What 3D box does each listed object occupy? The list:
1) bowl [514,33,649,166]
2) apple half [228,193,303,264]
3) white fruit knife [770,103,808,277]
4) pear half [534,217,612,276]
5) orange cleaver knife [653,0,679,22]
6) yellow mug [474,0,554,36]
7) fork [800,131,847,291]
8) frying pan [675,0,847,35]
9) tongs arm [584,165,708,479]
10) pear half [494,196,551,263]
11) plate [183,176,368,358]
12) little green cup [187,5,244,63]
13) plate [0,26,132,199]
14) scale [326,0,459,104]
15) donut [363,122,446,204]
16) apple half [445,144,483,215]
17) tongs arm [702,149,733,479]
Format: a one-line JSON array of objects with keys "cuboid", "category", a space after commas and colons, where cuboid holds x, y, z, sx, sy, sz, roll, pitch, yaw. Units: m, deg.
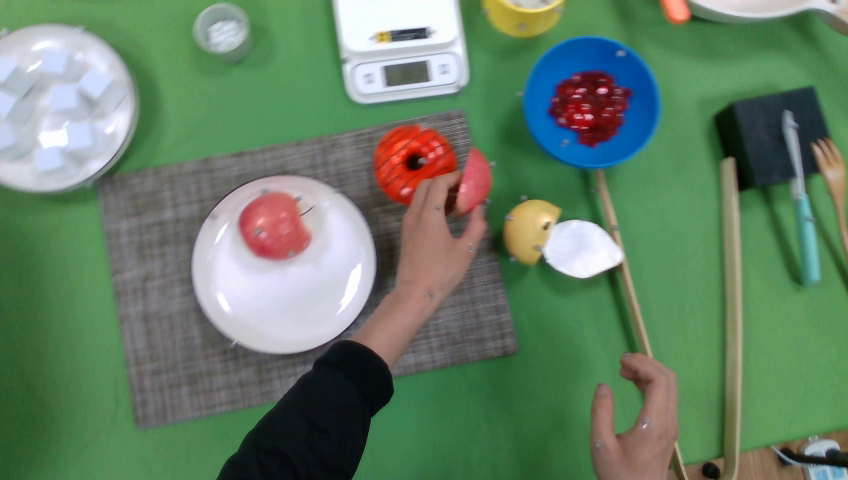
[{"cuboid": [0.174, -0.153, 0.707, 0.151, 0.077, 0.151, 0, 85, -1], "category": "bowl"}, {"cuboid": [-0.183, -0.013, 0.685, 0.075, 0.053, 0.080, -18, 87, -1], "category": "apple half"}, {"cuboid": [0.419, -0.055, 0.699, 0.016, 0.027, 0.208, -14, 99, -2], "category": "white fruit knife"}, {"cuboid": [0.175, 0.011, 0.712, 0.087, 0.031, 0.070, 13, 81, 15], "category": "pear half"}, {"cuboid": [0.258, -0.354, 0.697, 0.077, 0.012, 0.211, -22, 85, -6], "category": "orange cleaver knife"}, {"cuboid": [0.101, -0.318, 0.729, 0.100, 0.064, 0.130, -45, 85, -4], "category": "yellow mug"}, {"cuboid": [0.476, -0.027, 0.705, 0.028, 0.018, 0.208, -22, 100, -6], "category": "fork"}, {"cuboid": [0.432, -0.324, 0.716, 0.307, 0.103, 0.485, -39, 78, -4], "category": "frying pan"}, {"cuboid": [0.257, 0.094, 0.704, 0.051, 0.026, 0.384, -12, 85, -8], "category": "tongs arm"}, {"cuboid": [0.108, -0.017, 0.675, 0.056, 0.110, 0.076, 19, 80, 3], "category": "pear half"}, {"cuboid": [-0.167, 0.030, 0.698, 0.209, 0.038, 0.208, 0, 83, -1], "category": "plate"}, {"cuboid": [-0.248, -0.245, 0.730, 0.061, 0.039, 0.061, 0, 83, 0], "category": "little green cup"}, {"cuboid": [-0.446, -0.148, 0.717, 0.208, 0.039, 0.207, 0, 84, -1], "category": "plate"}, {"cuboid": [-0.042, -0.273, 0.740, 0.149, 0.031, 0.200, -8, 84, -1], "category": "scale"}, {"cuboid": [-0.023, -0.090, 0.710, 0.099, 0.048, 0.099, 0, 84, 2], "category": "donut"}, {"cuboid": [0.047, -0.061, 0.667, 0.033, 0.081, 0.081, 14, 83, 3], "category": "apple half"}, {"cuboid": [0.343, 0.084, 0.712, 0.028, 0.028, 0.386, 3, 84, -10], "category": "tongs arm"}]
